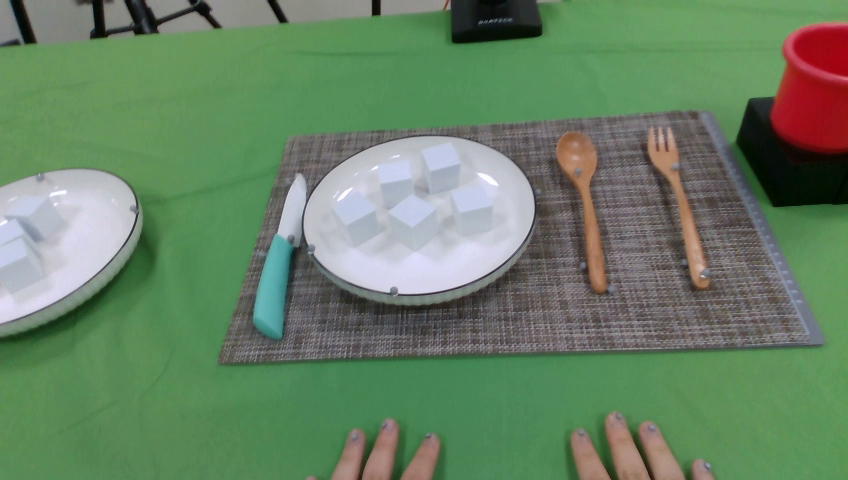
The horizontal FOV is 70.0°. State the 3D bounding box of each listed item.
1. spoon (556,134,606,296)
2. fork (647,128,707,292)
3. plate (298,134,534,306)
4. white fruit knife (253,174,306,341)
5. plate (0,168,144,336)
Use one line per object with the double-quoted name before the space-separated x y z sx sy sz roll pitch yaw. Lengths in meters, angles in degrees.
"spoon" 0.146 -0.030 0.547 0.042 0.022 0.192 11 46 -7
"fork" 0.227 -0.035 0.545 0.028 0.019 0.205 5 45 3
"plate" -0.007 -0.019 0.546 0.207 0.039 0.205 -3 46 4
"white fruit knife" -0.128 0.004 0.556 0.027 0.016 0.205 17 42 -16
"plate" -0.364 0.011 0.566 0.209 0.038 0.207 -3 45 4
